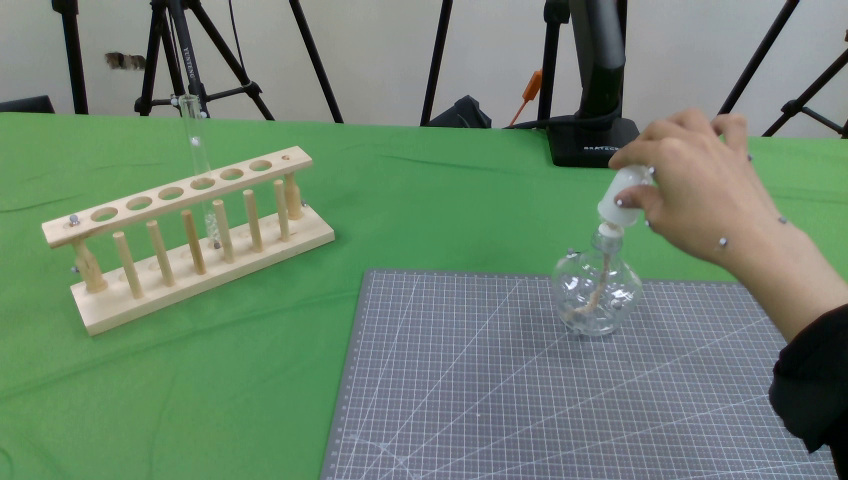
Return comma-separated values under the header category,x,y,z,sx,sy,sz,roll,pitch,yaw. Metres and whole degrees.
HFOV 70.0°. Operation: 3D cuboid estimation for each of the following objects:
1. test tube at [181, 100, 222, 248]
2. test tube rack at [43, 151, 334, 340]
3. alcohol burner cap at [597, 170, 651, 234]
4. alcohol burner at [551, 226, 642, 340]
category,x,y,z,sx,sy,sz,roll,pitch,yaw
test tube,-0.208,-0.058,0.574,0.017,0.151,0.017,1,32,0
test tube rack,-0.212,-0.003,0.584,0.243,0.086,0.066,-23,43,-28
alcohol burner cap,0.158,-0.032,0.470,0.034,0.048,0.033,9,39,-7
alcohol burner,0.151,0.029,0.519,0.078,0.120,0.077,1,39,-1
